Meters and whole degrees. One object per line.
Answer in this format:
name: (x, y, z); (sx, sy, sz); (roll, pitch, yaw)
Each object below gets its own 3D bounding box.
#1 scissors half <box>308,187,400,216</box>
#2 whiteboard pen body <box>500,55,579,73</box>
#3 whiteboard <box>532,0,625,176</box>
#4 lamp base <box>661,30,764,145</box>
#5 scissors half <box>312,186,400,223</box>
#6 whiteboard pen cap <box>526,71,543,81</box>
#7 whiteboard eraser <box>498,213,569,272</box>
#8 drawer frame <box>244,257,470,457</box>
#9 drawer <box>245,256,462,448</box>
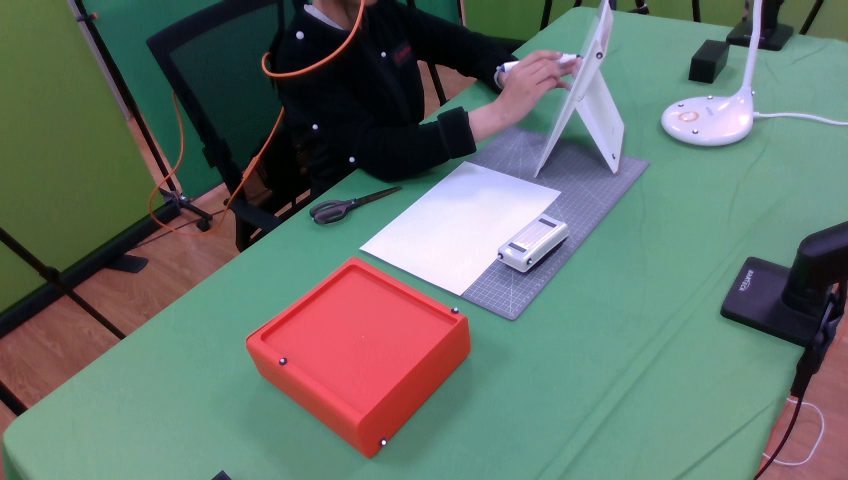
scissors half: (-0.126, -0.075, 1.104); (0.176, 0.013, 0.039); (-15, 29, -10)
whiteboard pen body: (0.205, -0.315, 1.073); (0.141, 0.017, 0.017); (-8, 40, 2)
whiteboard: (0.320, -0.258, 1.050); (0.144, 0.306, 0.217); (21, 45, 5)
lamp base: (0.535, -0.287, 1.096); (0.179, 0.181, 0.159); (-10, 40, -4)
scissors half: (-0.119, -0.066, 1.088); (0.176, 0.013, 0.040); (-25, 38, -24)
whiteboard pen cap: (0.213, -0.315, 1.163); (0.033, 0.018, 0.018); (-8, 33, -39)
whiteboard eraser: (0.168, 0.006, 0.924); (0.113, 0.042, 0.055); (-36, 48, -28)
drawer frame: (-0.084, 0.138, 0.788); (0.212, 0.083, 0.202); (25, 50, 33)
drawer: (-0.089, 0.136, 0.792); (0.210, 0.073, 0.195); (26, 51, 34)
